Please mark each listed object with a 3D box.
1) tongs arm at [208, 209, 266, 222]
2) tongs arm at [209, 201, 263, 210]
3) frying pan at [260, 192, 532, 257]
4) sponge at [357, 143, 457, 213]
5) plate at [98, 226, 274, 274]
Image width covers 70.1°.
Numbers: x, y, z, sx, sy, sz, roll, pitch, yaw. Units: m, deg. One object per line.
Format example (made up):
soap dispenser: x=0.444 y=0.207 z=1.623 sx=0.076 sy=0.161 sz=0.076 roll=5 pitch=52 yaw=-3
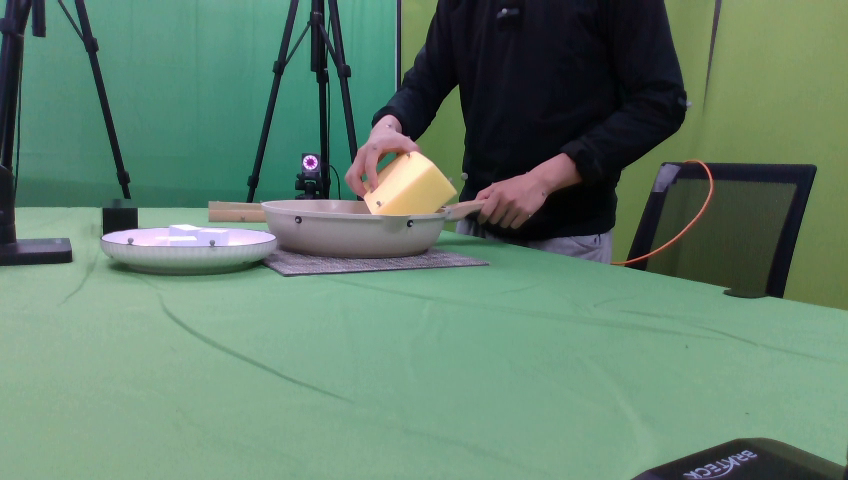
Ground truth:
tongs arm: x=-0.280 y=-0.055 z=1.355 sx=0.389 sy=0.028 sz=0.028 roll=-1 pitch=6 yaw=-28
tongs arm: x=-0.306 y=-0.070 z=1.430 sx=0.386 sy=0.026 sz=0.050 roll=2 pitch=8 yaw=-15
frying pan: x=-0.017 y=-0.043 z=1.006 sx=0.490 sy=0.102 sz=0.305 roll=-11 pitch=13 yaw=-26
sponge: x=-0.035 y=-0.083 z=0.974 sx=0.061 sy=0.118 sz=0.206 roll=47 pitch=1 yaw=-21
plate: x=-0.301 y=0.012 z=0.778 sx=0.208 sy=0.039 sz=0.207 roll=3 pitch=7 yaw=0
